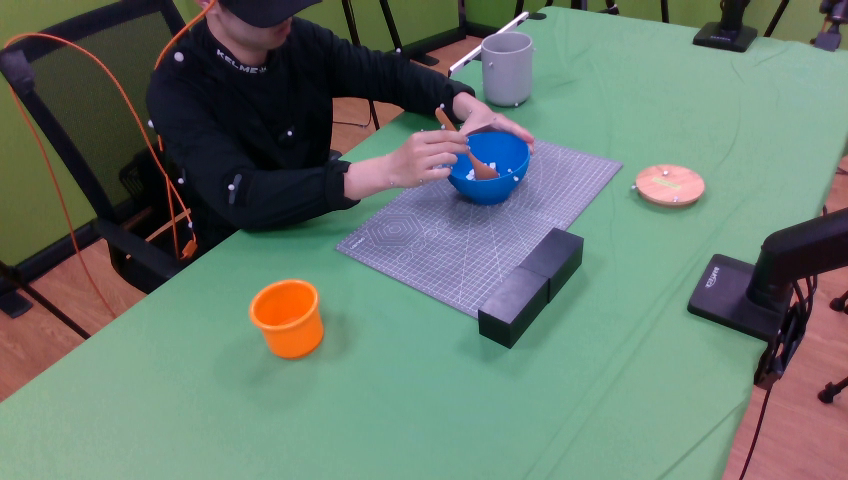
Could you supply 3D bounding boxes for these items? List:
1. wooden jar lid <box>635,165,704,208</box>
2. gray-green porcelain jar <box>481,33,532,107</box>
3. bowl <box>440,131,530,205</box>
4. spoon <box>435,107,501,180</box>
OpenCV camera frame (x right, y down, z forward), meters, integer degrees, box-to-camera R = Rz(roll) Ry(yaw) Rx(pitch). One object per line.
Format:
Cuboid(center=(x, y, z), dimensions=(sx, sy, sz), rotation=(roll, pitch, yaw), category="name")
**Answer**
Cuboid(center=(0.410, -0.089, 1.014), dimensions=(0.108, 0.021, 0.108), rotation=(-5, 42, 5), category="wooden jar lid")
Cuboid(center=(0.175, -0.355, 1.278), dimensions=(0.106, 0.127, 0.105), rotation=(-4, 41, 4), category="gray-green porcelain jar")
Cuboid(center=(0.109, -0.113, 1.034), dimensions=(0.151, 0.077, 0.150), rotation=(-7, 40, 6), category="bowl")
Cuboid(center=(0.068, -0.143, 0.966), dimensions=(0.041, 0.195, 0.021), rotation=(-37, 37, 9), category="spoon")
